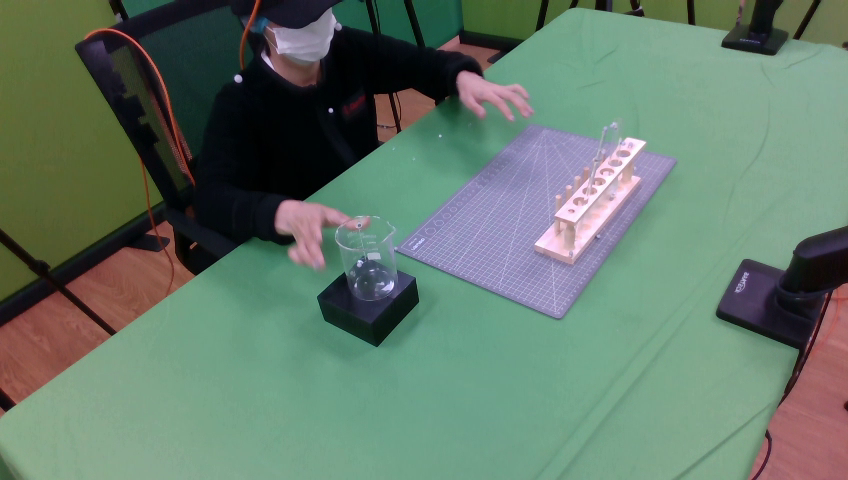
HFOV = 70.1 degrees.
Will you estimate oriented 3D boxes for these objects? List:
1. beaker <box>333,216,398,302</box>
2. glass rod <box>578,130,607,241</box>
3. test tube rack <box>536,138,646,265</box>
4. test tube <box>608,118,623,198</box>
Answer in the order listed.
[{"bbox_3d":[-0.072,0.027,0.816,0.084,0.100,0.073,-10,40,-5],"label":"beaker"},{"bbox_3d":[0.240,-0.072,0.866,0.008,0.200,0.008,0,44,1],"label":"glass rod"},{"bbox_3d":[0.268,-0.071,0.964,0.066,0.085,0.243,23,49,32],"label":"test tube rack"},{"bbox_3d":[0.299,-0.124,0.945,0.017,0.151,0.017,-7,44,7],"label":"test tube"}]
